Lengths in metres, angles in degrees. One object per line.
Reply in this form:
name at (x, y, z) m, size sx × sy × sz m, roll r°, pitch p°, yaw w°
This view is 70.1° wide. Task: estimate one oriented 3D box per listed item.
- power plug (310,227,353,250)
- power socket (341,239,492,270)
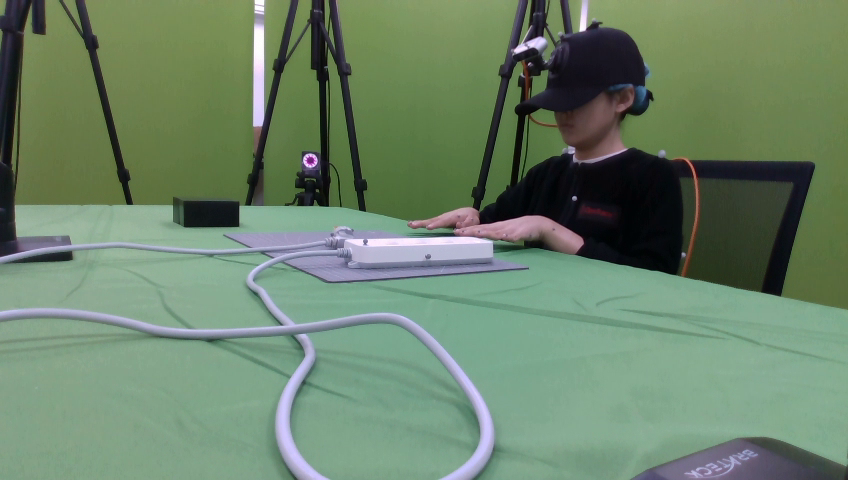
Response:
power plug at (-0.141, -0.008, 0.918) m, size 0.073 × 0.035 × 0.052 m, roll 22°, pitch 10°, yaw -36°
power socket at (-0.006, 0.018, 0.830) m, size 0.228 × 0.032 × 0.072 m, roll -1°, pitch 7°, yaw -29°
